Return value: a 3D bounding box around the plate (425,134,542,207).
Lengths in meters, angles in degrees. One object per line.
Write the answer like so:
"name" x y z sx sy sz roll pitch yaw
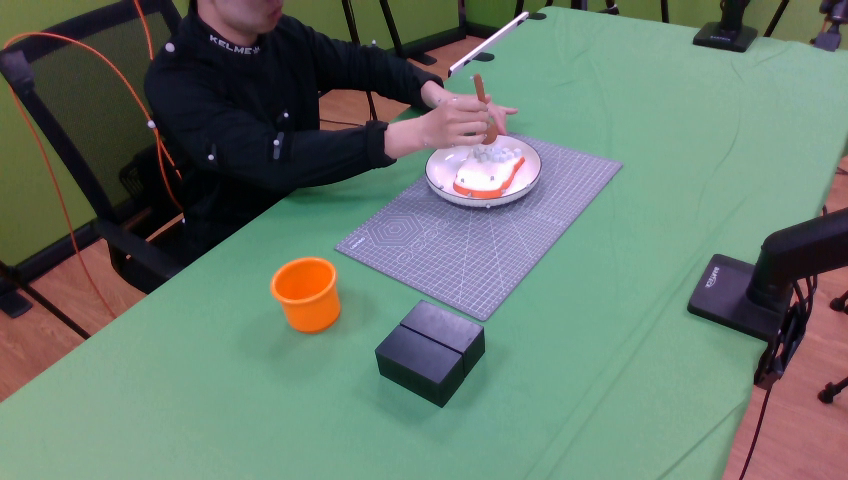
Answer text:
"plate" 0.106 -0.121 1.079 0.209 0.038 0.208 -4 40 4

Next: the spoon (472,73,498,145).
"spoon" 0.102 -0.220 1.034 0.041 0.195 0.021 -17 67 4

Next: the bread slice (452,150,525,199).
"bread slice" 0.112 -0.119 1.079 0.104 0.019 0.131 12 43 21
